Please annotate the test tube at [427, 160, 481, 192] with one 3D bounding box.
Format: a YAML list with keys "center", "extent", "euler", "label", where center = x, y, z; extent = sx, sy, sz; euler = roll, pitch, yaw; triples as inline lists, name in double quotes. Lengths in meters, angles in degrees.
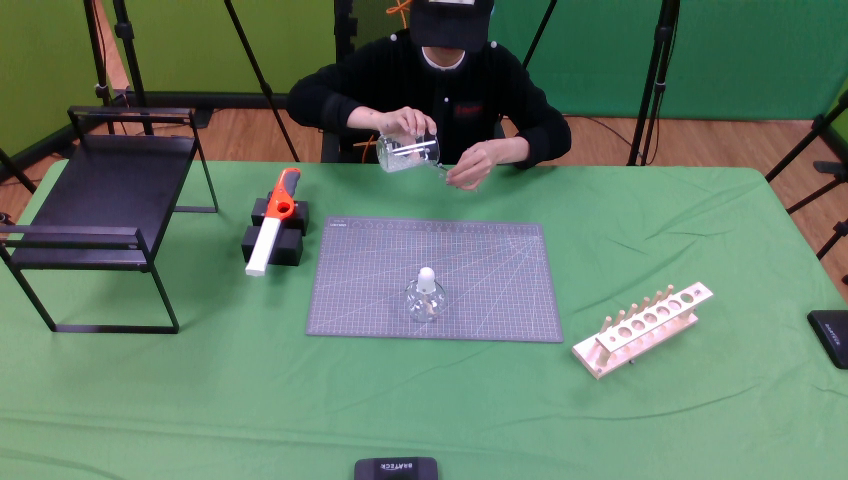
- center: [0.062, -0.124, 1.199]
  extent: [0.151, 0.017, 0.017]
  euler: [22, 31, -41]
  label: "test tube"

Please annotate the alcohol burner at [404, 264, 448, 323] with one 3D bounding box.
- center: [0.003, 0.087, 1.042]
  extent: [0.078, 0.120, 0.077]
  euler: [1, 45, 0]
  label: "alcohol burner"

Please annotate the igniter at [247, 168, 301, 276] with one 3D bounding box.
- center: [-0.282, -0.043, 1.149]
  extent: [0.057, 0.025, 0.275]
  euler: [8, 48, -1]
  label: "igniter"

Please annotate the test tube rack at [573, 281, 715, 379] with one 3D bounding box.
- center: [0.378, 0.140, 1.038]
  extent: [0.242, 0.085, 0.066]
  euler: [-22, 51, -23]
  label: "test tube rack"

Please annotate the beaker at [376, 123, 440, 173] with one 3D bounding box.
- center: [-0.031, -0.164, 1.111]
  extent: [0.100, 0.084, 0.073]
  euler: [-15, 40, -18]
  label: "beaker"

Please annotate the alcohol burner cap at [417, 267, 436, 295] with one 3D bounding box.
- center: [0.004, 0.066, 1.019]
  extent: [0.034, 0.048, 0.033]
  euler: [0, 47, 1]
  label: "alcohol burner cap"
